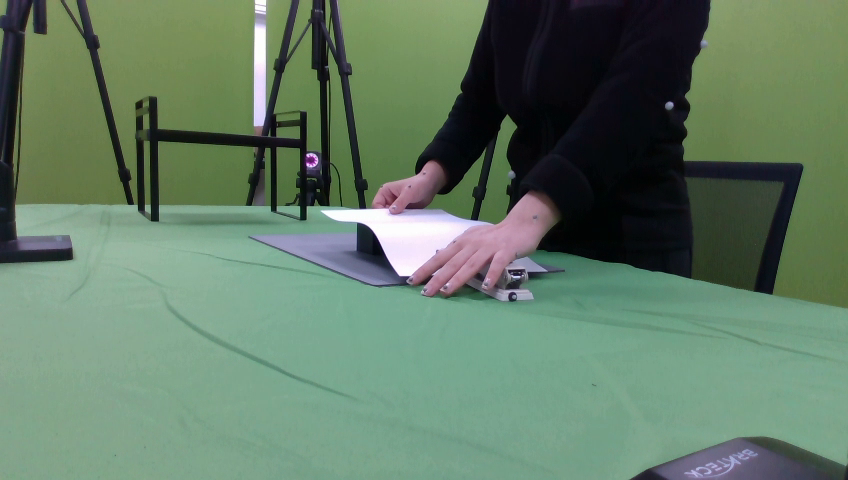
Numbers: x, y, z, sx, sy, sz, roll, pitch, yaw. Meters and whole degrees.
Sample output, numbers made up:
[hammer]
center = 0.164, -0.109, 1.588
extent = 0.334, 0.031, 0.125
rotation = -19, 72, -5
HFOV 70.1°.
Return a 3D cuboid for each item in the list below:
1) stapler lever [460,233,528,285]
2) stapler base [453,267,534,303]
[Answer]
[stapler lever]
center = 0.075, 0.020, 0.680
extent = 0.027, 0.040, 0.117
rotation = -7, 12, -22
[stapler base]
center = 0.074, 0.043, 0.686
extent = 0.041, 0.024, 0.130
rotation = -7, 13, -22
